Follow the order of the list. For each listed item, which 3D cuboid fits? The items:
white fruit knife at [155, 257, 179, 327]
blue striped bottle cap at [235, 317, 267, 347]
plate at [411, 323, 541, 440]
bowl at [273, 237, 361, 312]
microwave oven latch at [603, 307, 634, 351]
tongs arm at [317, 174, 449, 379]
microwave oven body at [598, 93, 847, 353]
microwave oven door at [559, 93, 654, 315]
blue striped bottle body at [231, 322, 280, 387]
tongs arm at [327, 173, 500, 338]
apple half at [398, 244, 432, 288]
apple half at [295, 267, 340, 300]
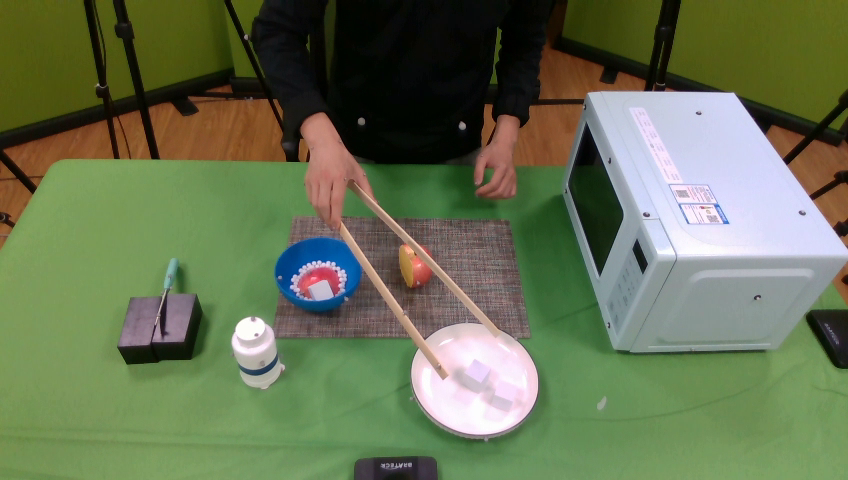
[{"bbox_3d":[-0.440,0.085,1.037,0.016,0.027,0.206,10,26,-19],"label":"white fruit knife"},{"bbox_3d":[-0.260,0.137,0.907,0.044,0.021,0.044,3,43,-2],"label":"blue striped bottle cap"},{"bbox_3d":[0.082,0.228,0.976,0.208,0.039,0.206,2,45,-2],"label":"plate"},{"bbox_3d":[-0.186,0.075,1.070,0.151,0.077,0.150,3,46,-3],"label":"bowl"},{"bbox_3d":[0.332,0.153,1.044,0.030,0.029,0.078,0,45,-4],"label":"microwave oven latch"},{"bbox_3d":[-0.066,0.051,0.967,0.051,0.026,0.383,-31,75,-28],"label":"tongs arm"},{"bbox_3d":[0.475,-0.041,1.110,0.326,0.261,0.438,-1,45,-4],"label":"microwave oven body"},{"bbox_3d":[0.327,-0.074,1.123,0.039,0.245,0.353,-1,46,-5],"label":"microwave oven door"},{"bbox_3d":[-0.262,0.171,0.944,0.063,0.121,0.062,2,46,-2],"label":"blue striped bottle body"},{"bbox_3d":[-0.018,0.021,1.000,0.386,0.028,0.028,44,63,9],"label":"tongs arm"},{"bbox_3d":[-0.011,0.046,1.115,0.053,0.075,0.080,-11,44,-19],"label":"apple half"},{"bbox_3d":[-0.187,0.071,1.067,0.081,0.033,0.081,3,46,-3],"label":"apple half"}]
